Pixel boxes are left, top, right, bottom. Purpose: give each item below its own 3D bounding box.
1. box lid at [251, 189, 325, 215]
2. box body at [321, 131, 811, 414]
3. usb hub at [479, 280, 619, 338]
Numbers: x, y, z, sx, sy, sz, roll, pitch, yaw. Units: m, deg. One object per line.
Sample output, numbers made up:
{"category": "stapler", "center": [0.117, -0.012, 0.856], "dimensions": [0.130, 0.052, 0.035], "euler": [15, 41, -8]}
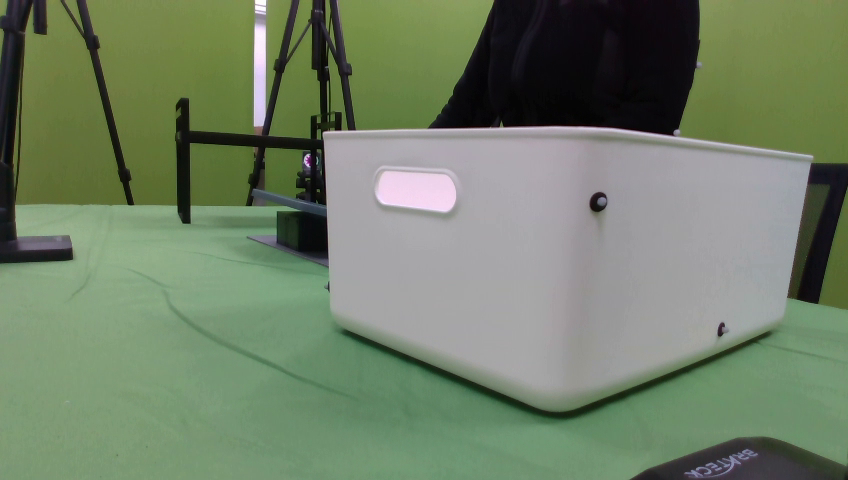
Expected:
{"category": "box lid", "center": [-0.066, -0.029, 0.971], "dimensions": [0.374, 0.015, 0.262], "euler": [11, 3, -34]}
{"category": "box body", "center": [0.124, 0.000, 0.510], "dimensions": [0.366, 0.160, 0.253], "euler": [-4, 10, -42]}
{"category": "usb hub", "center": [0.110, 0.057, 0.525], "dimensions": [0.126, 0.025, 0.049], "euler": [-5, 12, -35]}
